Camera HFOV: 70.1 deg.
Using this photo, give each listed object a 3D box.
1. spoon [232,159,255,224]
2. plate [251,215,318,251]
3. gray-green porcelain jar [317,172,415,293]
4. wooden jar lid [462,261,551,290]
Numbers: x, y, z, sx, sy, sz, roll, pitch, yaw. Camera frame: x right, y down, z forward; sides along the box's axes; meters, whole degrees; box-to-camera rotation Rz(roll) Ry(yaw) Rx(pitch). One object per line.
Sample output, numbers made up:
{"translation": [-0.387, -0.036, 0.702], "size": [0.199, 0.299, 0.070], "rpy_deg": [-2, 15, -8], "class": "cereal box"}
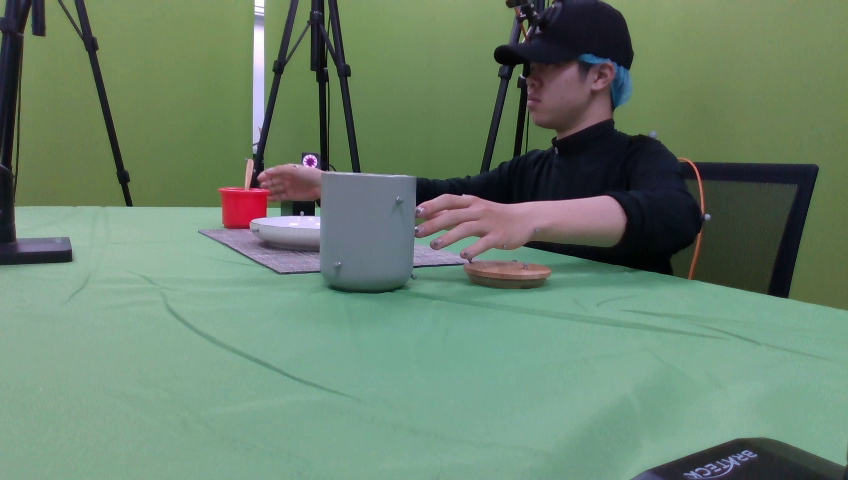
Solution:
{"translation": [-0.356, -0.101, 1.218], "size": [0.042, 0.021, 0.193], "rpy_deg": [2, 51, -9], "class": "spoon"}
{"translation": [-0.170, -0.012, 0.971], "size": [0.208, 0.039, 0.207], "rpy_deg": [2, 7, 0], "class": "plate"}
{"translation": [-0.065, -0.010, 0.672], "size": [0.106, 0.126, 0.106], "rpy_deg": [2, 7, 0], "class": "gray-green porcelain jar"}
{"translation": [0.100, 0.043, 0.742], "size": [0.108, 0.020, 0.108], "rpy_deg": [2, 6, 0], "class": "wooden jar lid"}
